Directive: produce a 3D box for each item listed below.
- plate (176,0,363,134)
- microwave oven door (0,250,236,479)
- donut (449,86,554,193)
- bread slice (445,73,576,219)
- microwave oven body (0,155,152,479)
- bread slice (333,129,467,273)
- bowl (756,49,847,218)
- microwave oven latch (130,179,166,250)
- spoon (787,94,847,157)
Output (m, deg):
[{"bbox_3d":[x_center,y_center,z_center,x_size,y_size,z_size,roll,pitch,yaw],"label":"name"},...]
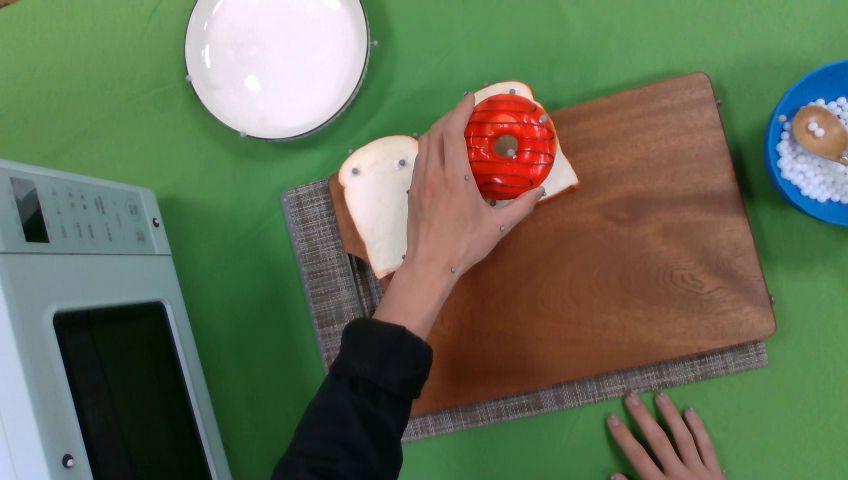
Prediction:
[{"bbox_3d":[-0.166,-0.217,0.663,0.207,0.039,0.207,0,90,8],"label":"plate"},{"bbox_3d":[-0.265,0.183,0.556,0.039,0.244,0.355,-17,87,8],"label":"microwave oven door"},{"bbox_3d":[0.072,-0.094,0.567,0.099,0.048,0.099,1,94,13],"label":"donut"},{"bbox_3d":[0.078,-0.100,0.612,0.105,0.019,0.131,-25,86,6],"label":"bread slice"},{"bbox_3d":[-0.415,0.185,0.581,0.326,0.260,0.441,-17,88,7],"label":"microwave oven body"},{"bbox_3d":[-0.033,-0.045,0.626,0.107,0.018,0.134,-29,86,6],"label":"bread slice"},{"bbox_3d":[0.382,-0.093,0.569,0.151,0.077,0.151,0,90,8],"label":"bowl"},{"bbox_3d":[-0.311,-0.026,0.665,0.030,0.029,0.079,-16,88,7],"label":"microwave oven latch"},{"bbox_3d":[0.402,-0.058,0.535,0.041,0.022,0.192,-41,67,10],"label":"spoon"}]
